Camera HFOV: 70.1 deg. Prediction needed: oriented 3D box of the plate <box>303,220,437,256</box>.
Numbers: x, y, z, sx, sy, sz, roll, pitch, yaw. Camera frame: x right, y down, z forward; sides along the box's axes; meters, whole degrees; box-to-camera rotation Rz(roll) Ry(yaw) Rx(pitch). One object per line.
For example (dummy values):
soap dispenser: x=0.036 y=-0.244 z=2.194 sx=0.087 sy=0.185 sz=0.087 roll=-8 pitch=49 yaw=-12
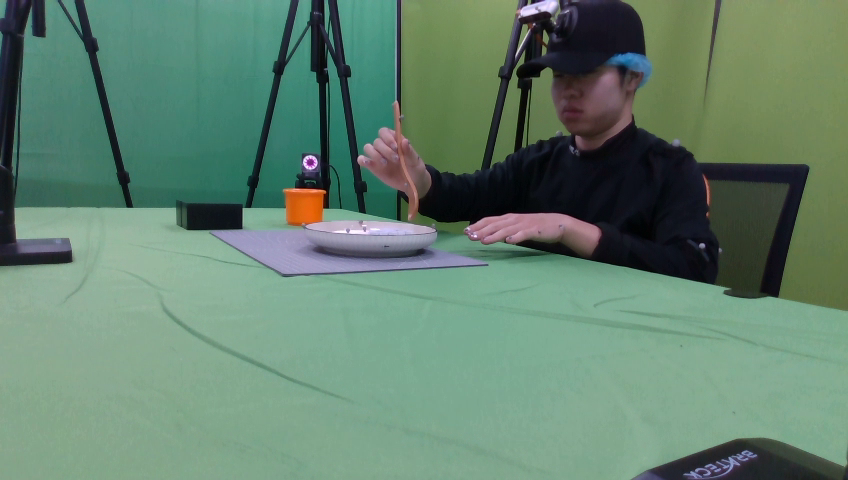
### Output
plate: x=-0.084 y=-0.003 z=0.951 sx=0.209 sy=0.038 sz=0.209 roll=3 pitch=7 yaw=0

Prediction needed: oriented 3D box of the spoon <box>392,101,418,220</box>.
spoon: x=-0.033 y=-0.126 z=0.950 sx=0.022 sy=0.193 sz=0.041 roll=-10 pitch=-5 yaw=-14

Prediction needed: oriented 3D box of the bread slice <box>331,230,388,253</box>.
bread slice: x=-0.088 y=0.000 z=0.947 sx=0.105 sy=0.019 sz=0.131 roll=-4 pitch=11 yaw=-45
